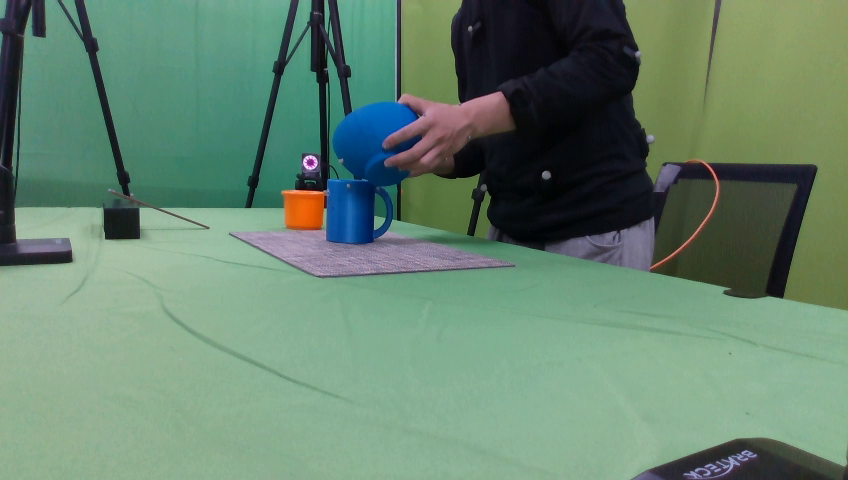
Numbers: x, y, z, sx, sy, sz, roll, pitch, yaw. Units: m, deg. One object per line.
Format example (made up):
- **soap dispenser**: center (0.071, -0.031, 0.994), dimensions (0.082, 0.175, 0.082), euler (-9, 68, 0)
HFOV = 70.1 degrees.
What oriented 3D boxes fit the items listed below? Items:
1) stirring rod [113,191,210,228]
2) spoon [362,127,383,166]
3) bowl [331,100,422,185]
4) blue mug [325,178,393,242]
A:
- **stirring rod**: center (-0.484, -0.055, 1.121), dimensions (0.177, 0.006, 0.014), euler (22, -6, -22)
- **spoon**: center (-0.090, -0.176, 1.088), dimensions (0.021, 0.042, 0.193), euler (-20, 23, 9)
- **bowl**: center (-0.067, -0.141, 0.961), dimensions (0.152, 0.076, 0.151), euler (-15, -28, -8)
- **blue mug**: center (-0.111, -0.052, 1.034), dimensions (0.116, 0.106, 0.082), euler (3, 7, 7)
